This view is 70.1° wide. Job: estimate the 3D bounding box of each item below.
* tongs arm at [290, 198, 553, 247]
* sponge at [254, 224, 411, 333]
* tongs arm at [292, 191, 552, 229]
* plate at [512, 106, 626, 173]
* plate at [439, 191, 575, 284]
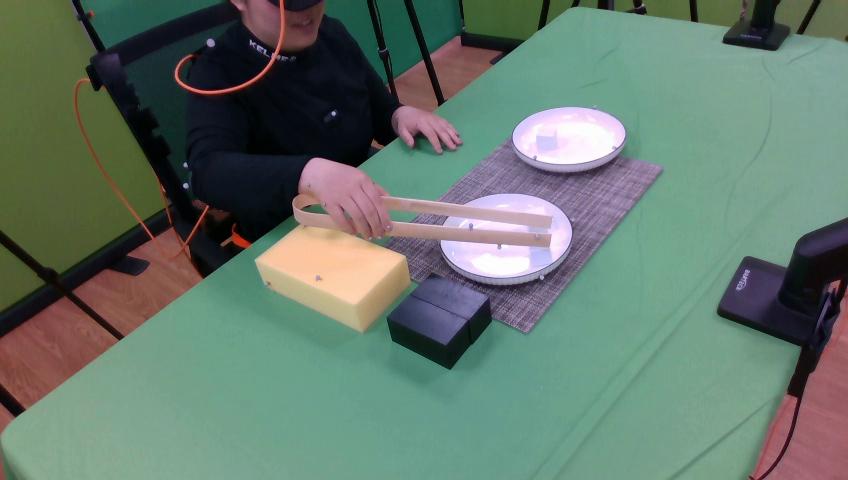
[{"bbox_3d":[-0.008,-0.025,0.882,0.385,0.026,0.050,3,41,2],"label":"tongs arm"},{"bbox_3d":[-0.139,0.048,0.922,0.205,0.061,0.118,19,47,30],"label":"sponge"},{"bbox_3d":[-0.004,-0.042,0.902,0.387,0.028,0.028,6,45,4],"label":"tongs arm"},{"bbox_3d":[0.269,-0.185,1.132,0.209,0.038,0.208,-5,40,5],"label":"plate"},{"bbox_3d":[0.129,-0.002,0.942,0.207,0.039,0.206,-5,40,5],"label":"plate"}]
